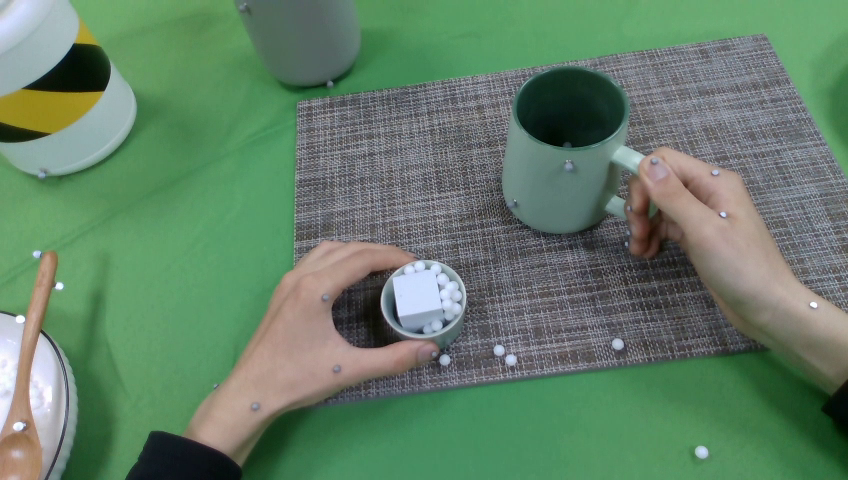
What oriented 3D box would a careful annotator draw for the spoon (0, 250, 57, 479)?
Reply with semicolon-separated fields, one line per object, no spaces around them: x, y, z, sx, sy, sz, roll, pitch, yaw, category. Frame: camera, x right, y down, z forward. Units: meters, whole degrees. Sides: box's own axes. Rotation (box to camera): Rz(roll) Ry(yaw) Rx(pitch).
-0.286;0.093;0.436;0.041;0.022;0.192;-6;67;2;spoon

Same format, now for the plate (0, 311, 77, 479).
-0.343;0.150;0.427;0.209;0.038;0.207;-3;59;5;plate

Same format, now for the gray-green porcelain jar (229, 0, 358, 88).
-0.121;-0.216;0.567;0.106;0.127;0.105;-3;59;5;gray-green porcelain jar

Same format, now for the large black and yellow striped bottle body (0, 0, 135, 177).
-0.356;-0.156;0.523;0.130;0.185;0.129;-3;59;5;large black and yellow striped bottle body

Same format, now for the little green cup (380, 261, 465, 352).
0.001;0.051;0.441;0.061;0.039;0.061;-3;57;6;little green cup

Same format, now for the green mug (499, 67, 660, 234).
0.116;-0.056;0.453;0.124;0.106;0.092;33;68;23;green mug
